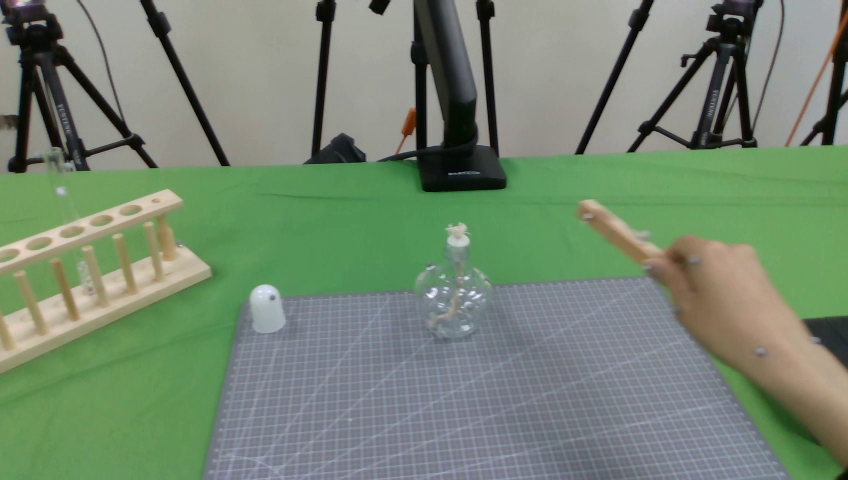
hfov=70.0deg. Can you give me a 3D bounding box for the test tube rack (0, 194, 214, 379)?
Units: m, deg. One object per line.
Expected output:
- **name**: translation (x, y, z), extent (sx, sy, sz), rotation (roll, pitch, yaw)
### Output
- **test tube rack**: translation (-0.341, 0.043, 0.595), extent (0.242, 0.086, 0.066), rotation (-28, 43, -36)

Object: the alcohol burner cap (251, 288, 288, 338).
- **alcohol burner cap**: translation (-0.153, 0.069, 0.595), extent (0.034, 0.048, 0.033), rotation (1, 35, -1)

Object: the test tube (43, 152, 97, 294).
- **test tube**: translation (-0.341, -0.013, 0.589), extent (0.017, 0.151, 0.017), rotation (0, 28, 0)

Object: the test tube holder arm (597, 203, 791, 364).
- **test tube holder arm**: translation (0.193, 0.026, 0.455), extent (0.013, 0.015, 0.176), rotation (-20, 49, -32)

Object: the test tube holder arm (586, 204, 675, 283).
- **test tube holder arm**: translation (0.163, 0.001, 0.477), extent (0.010, 0.015, 0.087), rotation (-20, 49, -32)

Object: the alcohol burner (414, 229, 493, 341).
- **alcohol burner**: translation (0.030, 0.039, 0.580), extent (0.078, 0.120, 0.077), rotation (2, 35, -1)
